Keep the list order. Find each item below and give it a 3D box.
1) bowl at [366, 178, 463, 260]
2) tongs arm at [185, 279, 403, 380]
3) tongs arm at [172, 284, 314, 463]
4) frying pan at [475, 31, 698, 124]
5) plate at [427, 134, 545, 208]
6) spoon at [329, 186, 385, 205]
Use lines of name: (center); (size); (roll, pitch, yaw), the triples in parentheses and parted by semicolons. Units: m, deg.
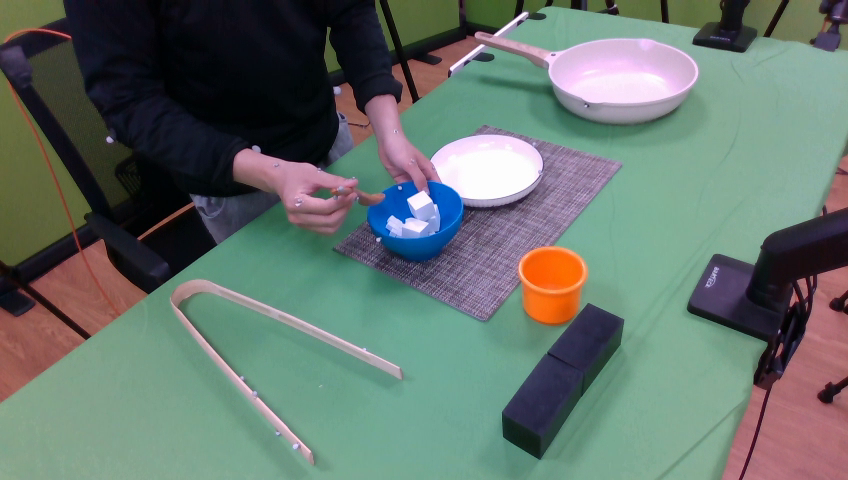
bowl: (-0.011, -0.021, 0.945); (0.151, 0.077, 0.150); (-4, 41, 4)
tongs arm: (-0.193, 0.120, 0.853); (0.385, 0.028, 0.028); (17, 49, 26)
tongs arm: (-0.246, 0.161, 0.806); (0.381, 0.026, 0.051); (29, 51, 36)
frying pan: (0.320, -0.371, 1.290); (0.485, 0.103, 0.307); (28, 50, 23)
plate: (0.110, -0.119, 1.073); (0.207, 0.039, 0.206); (-4, 40, 3)
spoon: (-0.094, -0.063, 0.823); (0.041, 0.021, 0.194); (-8, -3, 12)
